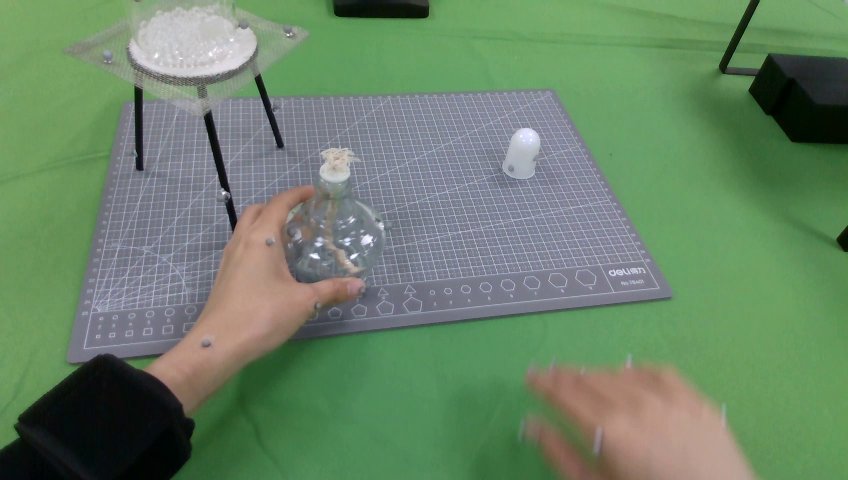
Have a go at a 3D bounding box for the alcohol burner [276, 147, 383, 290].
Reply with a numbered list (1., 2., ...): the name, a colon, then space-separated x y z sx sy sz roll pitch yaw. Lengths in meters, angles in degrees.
1. alcohol burner: -0.067 -0.019 0.434 0.078 0.120 0.077 5 47 -5

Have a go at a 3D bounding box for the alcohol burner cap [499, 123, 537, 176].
1. alcohol burner cap: 0.090 -0.087 0.568 0.034 0.048 0.033 3 47 -3

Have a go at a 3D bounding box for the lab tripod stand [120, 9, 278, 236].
1. lab tripod stand: -0.171 -0.096 0.477 0.148 0.132 0.147 5 48 -6

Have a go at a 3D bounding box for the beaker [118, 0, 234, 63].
1. beaker: -0.166 -0.173 0.391 0.073 0.101 0.083 26 51 14

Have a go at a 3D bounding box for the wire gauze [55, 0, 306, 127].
1. wire gauze: -0.167 -0.140 0.428 0.124 0.011 0.121 27 53 11
